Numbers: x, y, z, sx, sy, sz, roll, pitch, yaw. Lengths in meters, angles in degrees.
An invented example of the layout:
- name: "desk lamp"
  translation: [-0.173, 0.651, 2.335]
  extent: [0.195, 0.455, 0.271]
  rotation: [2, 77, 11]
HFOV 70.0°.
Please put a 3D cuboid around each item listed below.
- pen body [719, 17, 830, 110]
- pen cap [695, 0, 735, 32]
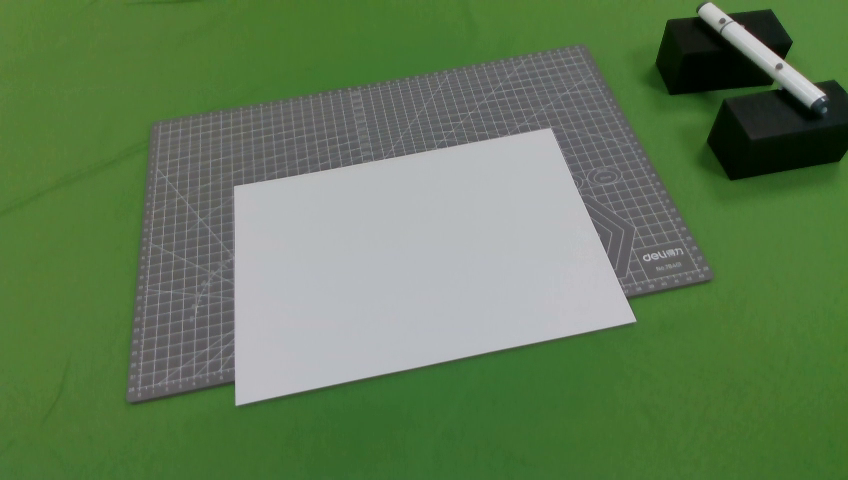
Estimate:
- name: "pen body"
  translation: [0.291, -0.162, 0.524]
  extent: [0.017, 0.017, 0.142]
  rotation: [-21, 57, -10]
- name: "pen cap"
  translation: [0.267, -0.208, 0.558]
  extent: [0.017, 0.017, 0.038]
  rotation: [-22, 57, -10]
